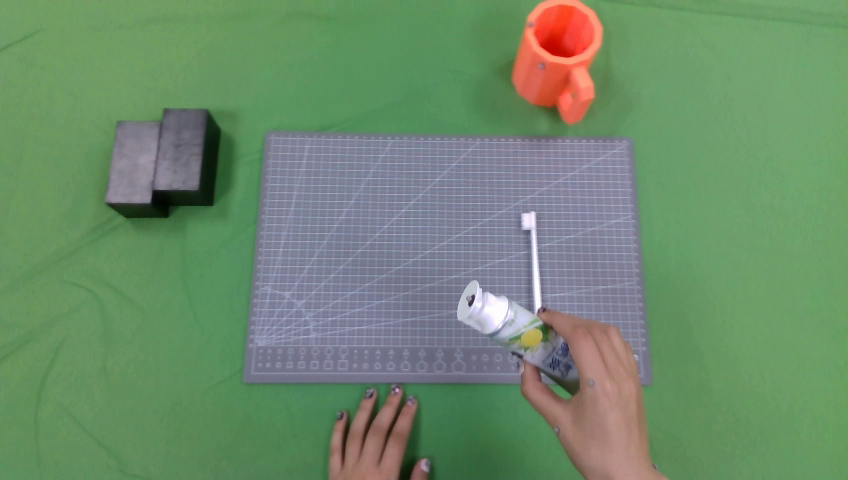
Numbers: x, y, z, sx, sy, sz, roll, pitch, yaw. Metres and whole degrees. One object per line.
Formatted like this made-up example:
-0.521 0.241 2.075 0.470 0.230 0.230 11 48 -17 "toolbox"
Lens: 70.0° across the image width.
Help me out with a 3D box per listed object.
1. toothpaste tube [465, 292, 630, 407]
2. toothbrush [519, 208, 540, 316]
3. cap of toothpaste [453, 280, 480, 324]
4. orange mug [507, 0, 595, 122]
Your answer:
0.101 0.090 0.511 0.166 0.034 0.055 31 105 -20 "toothpaste tube"
0.123 0.050 0.692 0.016 0.014 0.181 -3 75 2 "toothbrush"
0.036 0.050 0.482 0.011 0.037 0.037 22 74 -12 "cap of toothpaste"
0.156 -0.209 0.722 0.083 0.101 0.125 -20 72 -7 "orange mug"
